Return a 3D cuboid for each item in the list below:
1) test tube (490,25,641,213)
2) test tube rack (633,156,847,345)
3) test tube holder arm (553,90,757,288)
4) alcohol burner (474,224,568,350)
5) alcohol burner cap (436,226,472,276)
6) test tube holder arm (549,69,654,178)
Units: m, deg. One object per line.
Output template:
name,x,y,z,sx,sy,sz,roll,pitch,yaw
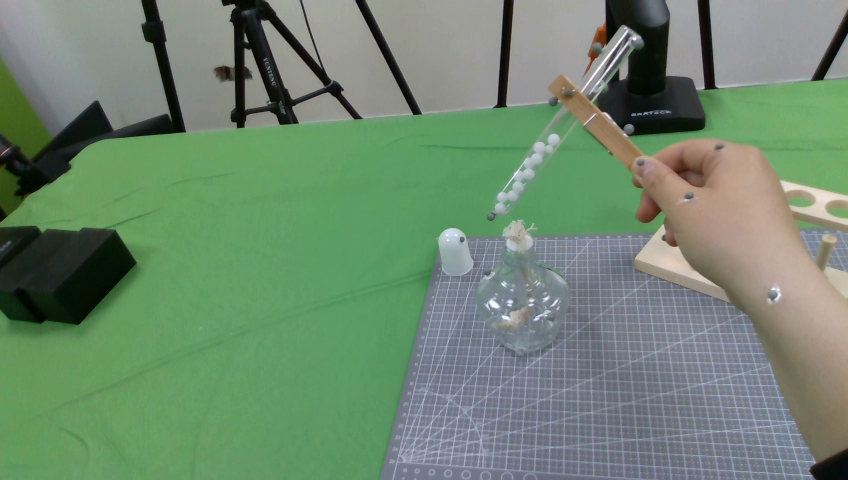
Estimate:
test tube,0.092,-0.078,0.413,0.017,0.150,0.017,30,23,-14
test tube rack,0.294,0.013,0.475,0.240,0.086,0.066,23,51,36
test tube holder arm,0.145,-0.042,0.390,0.015,0.013,0.177,-43,71,18
alcohol burner,0.077,0.033,0.488,0.078,0.120,0.077,-7,41,6
alcohol burner cap,0.028,0.008,0.590,0.034,0.048,0.033,-7,40,6
test tube holder arm,0.116,-0.076,0.396,0.015,0.010,0.087,-43,81,17
